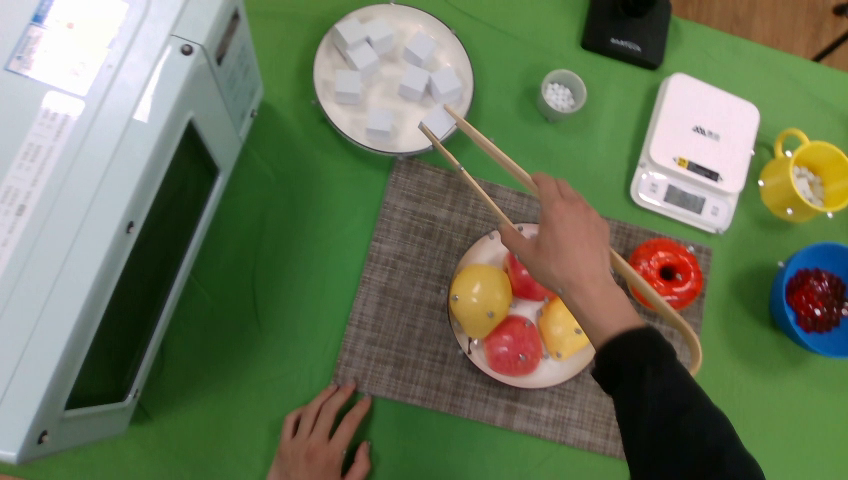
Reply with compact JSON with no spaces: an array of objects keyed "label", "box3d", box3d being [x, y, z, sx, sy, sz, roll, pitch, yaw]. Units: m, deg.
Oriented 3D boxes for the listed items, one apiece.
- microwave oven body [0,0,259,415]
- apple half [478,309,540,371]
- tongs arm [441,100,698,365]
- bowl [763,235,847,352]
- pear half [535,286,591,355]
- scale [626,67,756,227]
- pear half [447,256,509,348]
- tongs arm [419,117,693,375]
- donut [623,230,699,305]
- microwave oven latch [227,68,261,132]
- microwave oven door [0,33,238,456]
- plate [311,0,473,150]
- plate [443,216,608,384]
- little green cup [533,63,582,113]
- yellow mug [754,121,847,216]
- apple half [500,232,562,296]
[{"label":"microwave oven body","box3d":[-0.400,-0.073,0.586,0.327,0.260,0.440,19,78,-6]},{"label":"apple half","box3d":[0.107,0.121,0.737,0.081,0.033,0.081,3,72,-10]},{"label":"tongs arm","box3d":[0.145,-0.021,0.649,0.028,0.028,0.385,-39,73,-13]},{"label":"bowl","box3d":[0.510,0.074,0.803,0.152,0.077,0.151,2,80,-8]},{"label":"pear half","box3d":[0.175,0.099,0.754,0.070,0.031,0.087,15,75,7]},{"label":"scale","box3d":[0.373,-0.130,0.842,0.149,0.031,0.200,20,78,-4]},{"label":"pear half","box3d":[0.066,0.076,0.725,0.077,0.056,0.109,11,82,-17]},{"label":"tongs arm","box3d":[0.128,-0.006,0.645,0.051,0.027,0.382,-36,73,-8]},{"label":"donut","box3d":[0.307,0.036,0.791,0.099,0.048,0.098,1,80,-6]},{"label":"microwave oven latch","box3d":[-0.222,-0.173,0.731,0.030,0.029,0.079,21,78,-5]},{"label":"microwave oven door","box3d":[-0.275,0.012,0.584,0.039,0.244,0.354,18,77,-5]},{"label":"plate","box3d":[-0.041,-0.212,0.787,0.208,0.039,0.206,2,79,-9]},{"label":"plate","box3d":[0.125,0.074,0.757,0.209,0.038,0.208,2,79,-9]},{"label":"little green cup","box3d":[0.178,-0.203,0.820,0.062,0.038,0.061,2,79,-8]},{"label":"yellow mug","box3d":[0.520,-0.104,0.843,0.100,0.064,0.130,-16,82,-11]},{"label":"apple half","box3d":[0.135,0.028,0.750,0.075,0.053,0.080,4,82,-5]}]
